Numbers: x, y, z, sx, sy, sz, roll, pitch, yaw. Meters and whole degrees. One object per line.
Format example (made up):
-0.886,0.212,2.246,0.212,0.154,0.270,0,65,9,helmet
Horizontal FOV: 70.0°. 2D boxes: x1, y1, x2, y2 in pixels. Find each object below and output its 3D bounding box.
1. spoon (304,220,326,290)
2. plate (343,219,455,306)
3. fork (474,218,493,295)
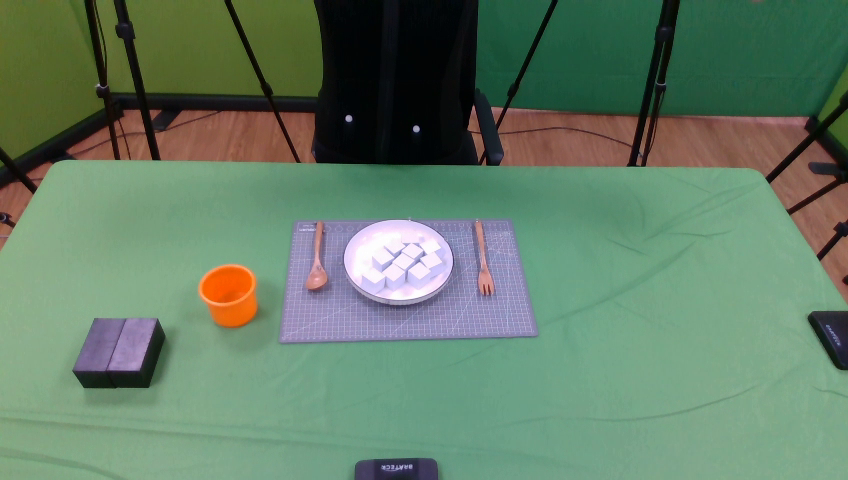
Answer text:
-0.205,0.024,1.154,0.041,0.022,0.192,-13,46,7,spoon
-0.047,0.045,1.136,0.208,0.039,0.206,2,46,-2,plate
0.112,0.029,1.177,0.028,0.019,0.206,-3,48,1,fork
